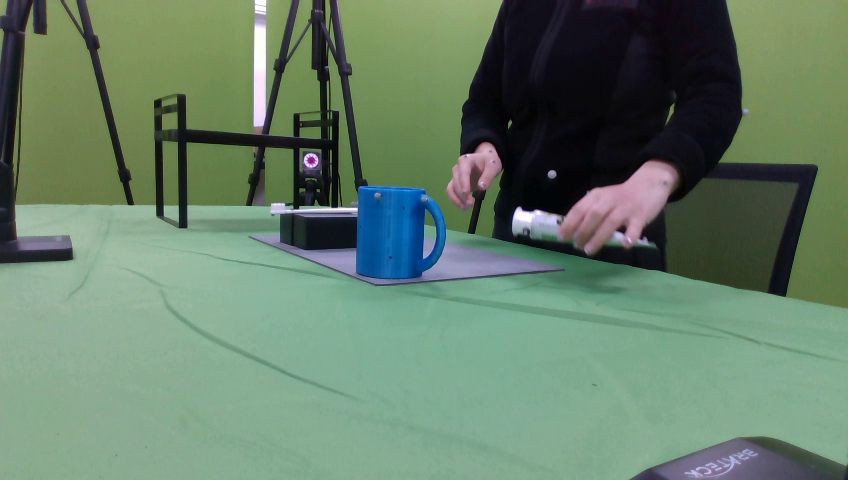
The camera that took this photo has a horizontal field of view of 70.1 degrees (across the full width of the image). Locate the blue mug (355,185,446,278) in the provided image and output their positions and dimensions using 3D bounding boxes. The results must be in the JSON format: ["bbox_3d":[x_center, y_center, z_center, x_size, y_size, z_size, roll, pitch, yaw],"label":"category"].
[{"bbox_3d":[-0.027,-0.011,0.723,0.116,0.106,0.083,7,8,27],"label":"blue mug"}]

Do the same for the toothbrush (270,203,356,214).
[{"bbox_3d":[-0.156,-0.050,0.958,0.183,0.016,0.014,-2,3,-34],"label":"toothbrush"}]

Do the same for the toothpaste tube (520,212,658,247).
[{"bbox_3d":[0.190,-0.009,0.717,0.164,0.034,0.055,9,4,24],"label":"toothpaste tube"}]

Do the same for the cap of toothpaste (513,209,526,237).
[{"bbox_3d":[0.121,-0.021,0.752,0.011,0.037,0.037,9,10,25],"label":"cap of toothpaste"}]
